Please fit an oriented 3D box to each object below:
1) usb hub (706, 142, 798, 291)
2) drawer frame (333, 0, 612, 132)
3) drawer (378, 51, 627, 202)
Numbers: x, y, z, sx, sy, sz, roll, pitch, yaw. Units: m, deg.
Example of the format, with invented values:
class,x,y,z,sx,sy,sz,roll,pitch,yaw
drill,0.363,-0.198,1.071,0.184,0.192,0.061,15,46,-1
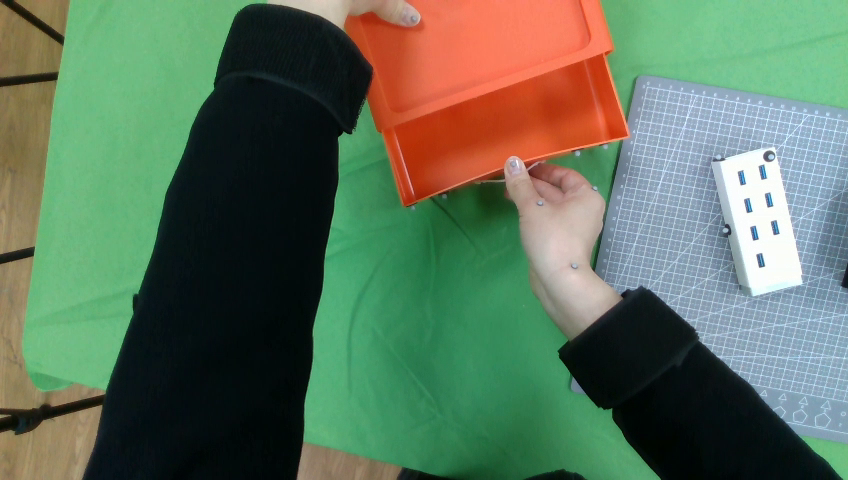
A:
class,x,y,z,sx,sy,sz,roll,pitch,yaw
usb hub,0.294,-0.021,0.541,0.049,0.025,0.125,-16,97,4
drawer frame,0.023,-0.221,0.505,0.201,0.082,0.214,-18,95,6
drawer,0.044,-0.158,0.518,0.194,0.073,0.212,-17,94,7
